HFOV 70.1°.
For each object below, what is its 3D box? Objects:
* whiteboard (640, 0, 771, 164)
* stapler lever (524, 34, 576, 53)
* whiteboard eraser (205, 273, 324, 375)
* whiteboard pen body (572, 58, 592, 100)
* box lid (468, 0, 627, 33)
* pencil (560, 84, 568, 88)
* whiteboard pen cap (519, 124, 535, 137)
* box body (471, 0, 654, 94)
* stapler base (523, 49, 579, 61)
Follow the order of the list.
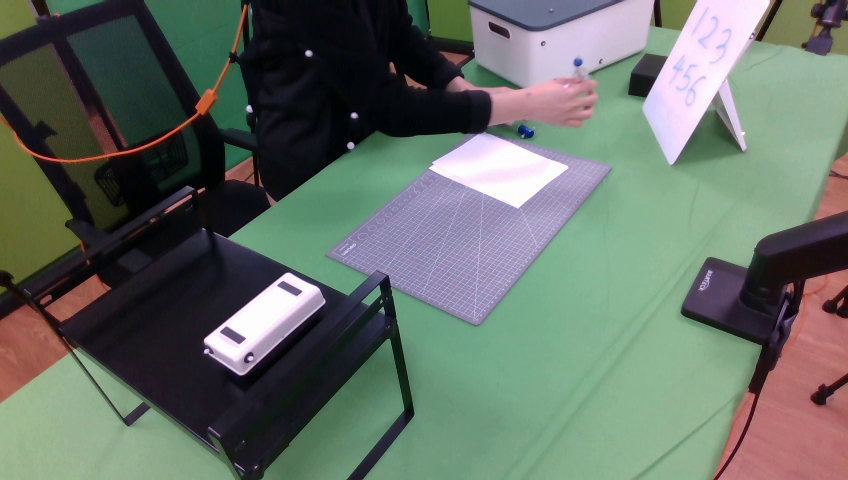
[{"bbox_3d":[0.543,-0.299,1.076,0.144,0.305,0.216,12,40,-7],"label":"whiteboard"},{"bbox_3d":[0.297,-0.462,1.423,0.117,0.040,0.027,4,25,17],"label":"stapler lever"},{"bbox_3d":[-0.157,0.084,0.605,0.055,0.042,0.113,24,49,30],"label":"whiteboard eraser"},{"bbox_3d":[0.274,-0.272,1.036,0.017,0.142,0.017,-6,75,23],"label":"whiteboard pen body"},{"bbox_3d":[0.312,-0.554,1.358,0.373,0.015,0.261,-26,44,-20],"label":"box lid"},{"bbox_3d":[0.248,-0.394,1.398,0.193,0.012,0.012,33,54,23],"label":"pencil"},{"bbox_3d":[0.206,-0.219,1.204,0.018,0.018,0.033,-27,43,-22],"label":"whiteboard pen cap"},{"bbox_3d":[0.319,-0.498,1.405,0.365,0.161,0.252,-26,43,-21],"label":"box body"},{"bbox_3d":[0.300,-0.441,1.434,0.130,0.024,0.041,3,24,18],"label":"stapler base"}]
